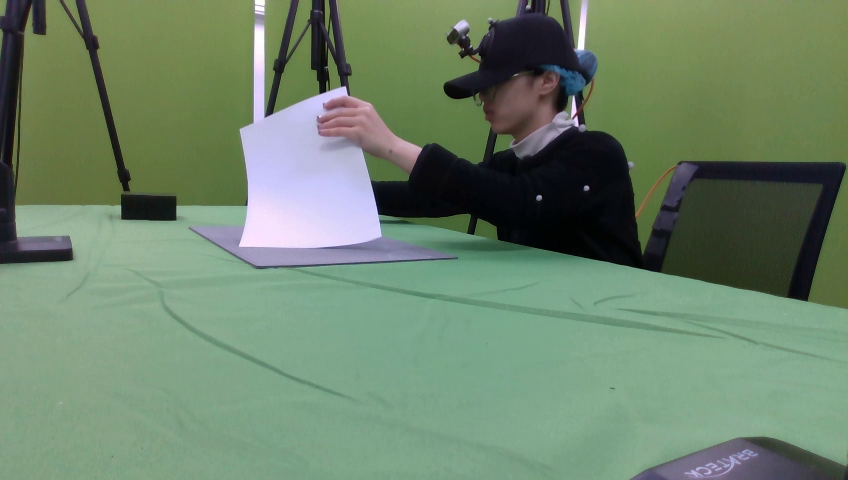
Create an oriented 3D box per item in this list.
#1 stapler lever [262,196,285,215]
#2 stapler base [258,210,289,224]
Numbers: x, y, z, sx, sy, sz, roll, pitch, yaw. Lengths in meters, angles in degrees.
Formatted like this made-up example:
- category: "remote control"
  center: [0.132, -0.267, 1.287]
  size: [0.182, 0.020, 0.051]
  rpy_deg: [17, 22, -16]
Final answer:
- category: "stapler lever"
  center: [-0.323, -0.076, 1.293]
  size: [0.027, 0.040, 0.117]
  rpy_deg: [2, 6, -27]
- category: "stapler base"
  center: [-0.323, -0.052, 1.294]
  size: [0.041, 0.024, 0.130]
  rpy_deg: [2, 5, -27]
